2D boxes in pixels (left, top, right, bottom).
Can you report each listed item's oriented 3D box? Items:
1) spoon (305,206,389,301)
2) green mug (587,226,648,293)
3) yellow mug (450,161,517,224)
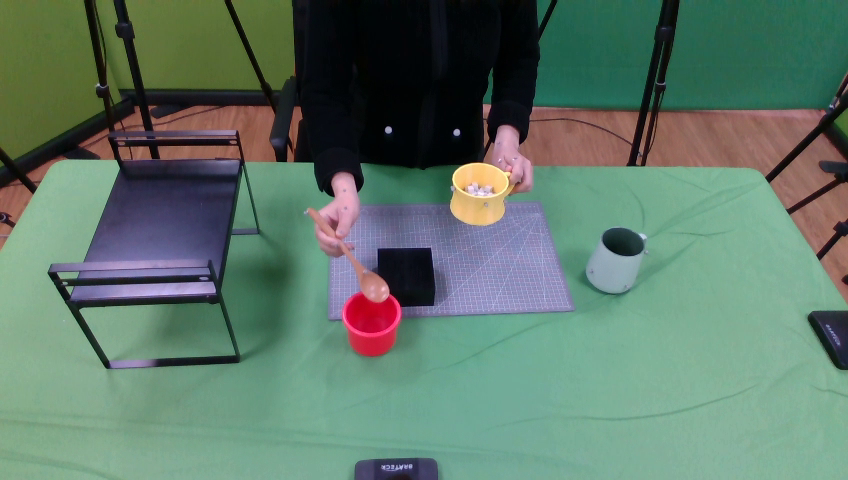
[{"bbox_3d":[-0.123,0.020,0.970,0.041,0.021,0.194,-43,105,-26],"label":"spoon"},{"bbox_3d":[0.372,0.031,1.136,0.125,0.105,0.092,-27,53,-26],"label":"green mug"},{"bbox_3d":[0.112,-0.090,1.078,0.131,0.064,0.099,-21,48,-24],"label":"yellow mug"}]
